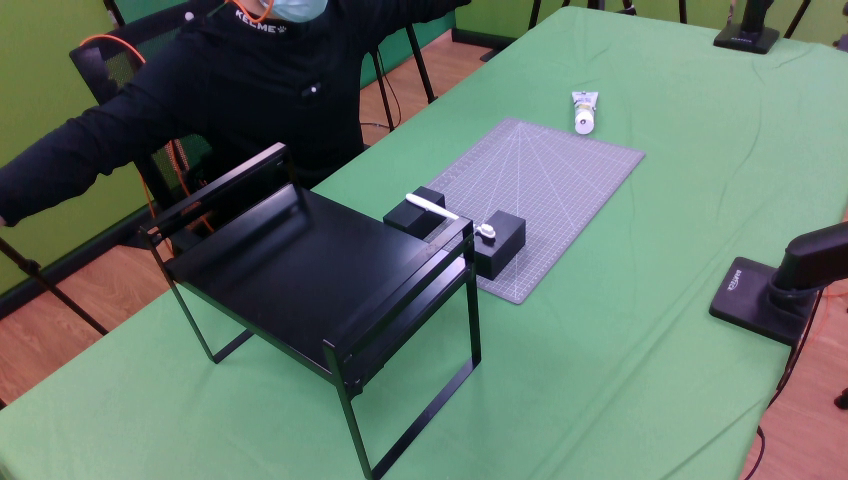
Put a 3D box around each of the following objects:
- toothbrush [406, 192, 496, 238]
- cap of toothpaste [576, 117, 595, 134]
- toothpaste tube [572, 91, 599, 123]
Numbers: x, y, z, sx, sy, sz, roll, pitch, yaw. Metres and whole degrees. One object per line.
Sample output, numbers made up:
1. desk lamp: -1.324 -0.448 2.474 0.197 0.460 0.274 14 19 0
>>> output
1. toothbrush: 0.037 -0.043 0.937 0.180 0.017 0.014 26 66 35
2. cap of toothpaste: 0.313 -0.224 1.172 0.037 0.037 0.011 -2 41 6
3. toothpaste tube: 0.331 -0.272 1.234 0.055 0.034 0.164 8 39 8
